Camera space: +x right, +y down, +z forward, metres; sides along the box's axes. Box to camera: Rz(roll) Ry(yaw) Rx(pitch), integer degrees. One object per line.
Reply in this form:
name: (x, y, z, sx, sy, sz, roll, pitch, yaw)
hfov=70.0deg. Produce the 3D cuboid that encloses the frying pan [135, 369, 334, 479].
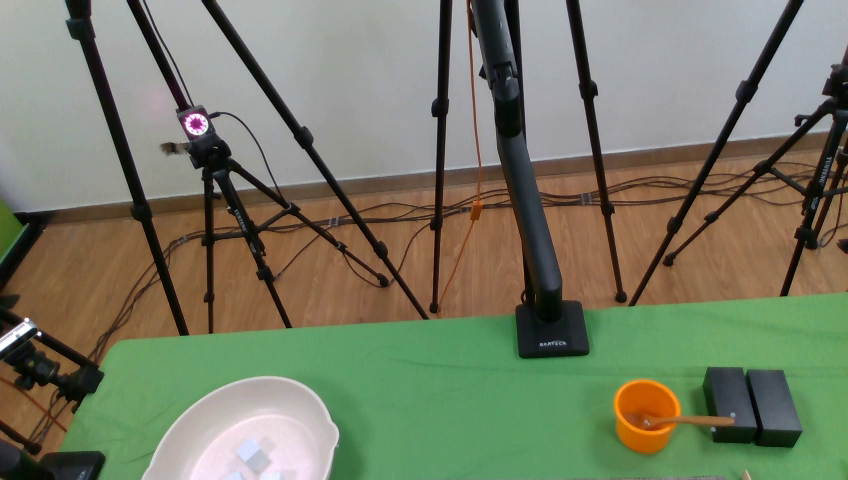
frying pan: (-0.267, 0.400, 0.858, 0.307, 0.104, 0.482, -14, 36, 0)

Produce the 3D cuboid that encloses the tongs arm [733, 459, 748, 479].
tongs arm: (0.465, 0.443, 0.714, 0.028, 0.028, 0.383, -10, 44, -1)

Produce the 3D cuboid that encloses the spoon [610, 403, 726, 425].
spoon: (0.337, 0.244, 0.855, 0.021, 0.193, 0.041, 50, 60, -4)
